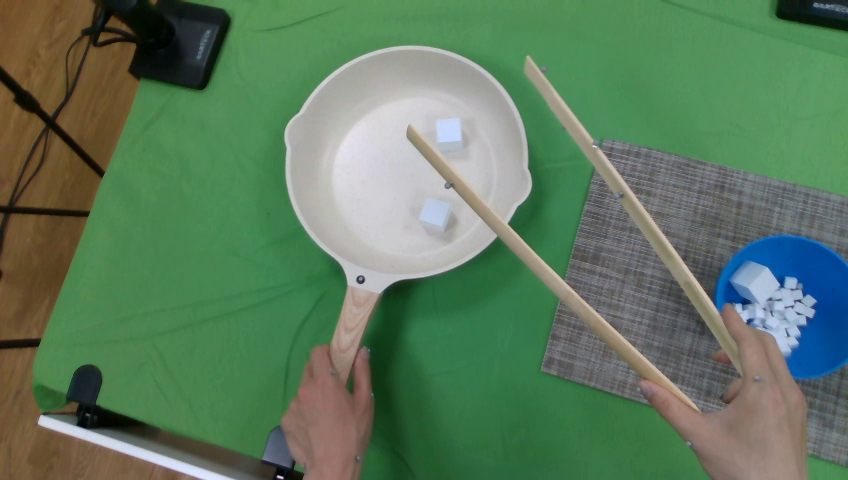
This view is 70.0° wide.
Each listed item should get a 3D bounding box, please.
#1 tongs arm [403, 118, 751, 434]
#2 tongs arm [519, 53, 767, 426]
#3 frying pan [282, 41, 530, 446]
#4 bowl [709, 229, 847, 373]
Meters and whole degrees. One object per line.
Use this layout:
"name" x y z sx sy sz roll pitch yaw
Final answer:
"tongs arm" 0.113 0.023 0.523 0.028 0.028 0.385 -38 74 -21
"tongs arm" 0.175 -0.016 0.540 0.051 0.027 0.382 -28 72 -14
"frying pan" -0.054 -0.003 0.715 0.306 0.103 0.485 16 72 10
"bowl" 0.381 0.069 0.663 0.151 0.077 0.150 -1 78 6
